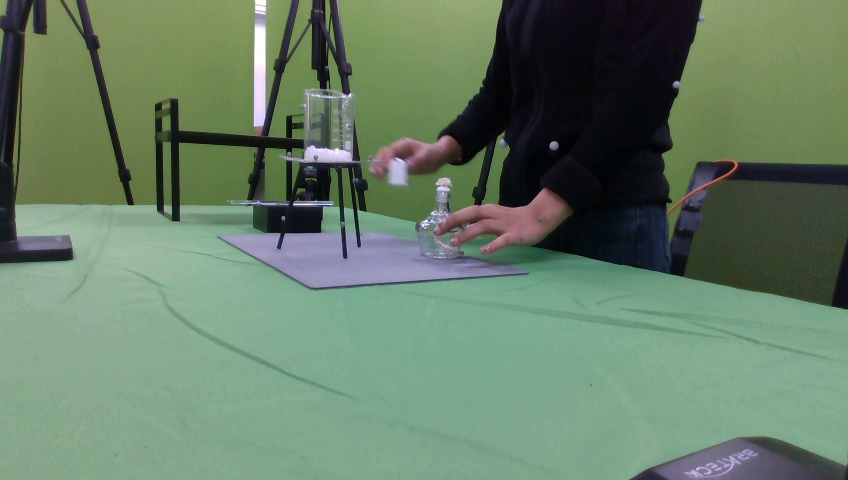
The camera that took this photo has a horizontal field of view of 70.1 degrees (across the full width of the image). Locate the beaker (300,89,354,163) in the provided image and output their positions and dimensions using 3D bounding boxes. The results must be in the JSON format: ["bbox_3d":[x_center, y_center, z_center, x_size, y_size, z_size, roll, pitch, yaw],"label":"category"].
[{"bbox_3d":[-0.137,-0.161,0.869,0.083,0.100,0.074,9,10,42],"label":"beaker"}]

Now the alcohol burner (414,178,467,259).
[{"bbox_3d":[0.026,-0.032,0.891,0.078,0.119,0.078,4,6,0],"label":"alcohol burner"}]

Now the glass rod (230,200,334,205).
[{"bbox_3d":[-0.265,-0.070,1.144,0.201,0.008,0.008,-1,8,-31],"label":"glass rod"}]

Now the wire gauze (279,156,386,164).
[{"bbox_3d":[-0.134,-0.113,0.875,0.122,0.011,0.124,-1,6,-30],"label":"wire gauze"}]

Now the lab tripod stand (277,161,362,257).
[{"bbox_3d":[-0.142,-0.049,0.884,0.148,0.131,0.148,1,9,0],"label":"lab tripod stand"}]

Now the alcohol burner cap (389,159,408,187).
[{"bbox_3d":[-0.043,-0.117,1.046,0.034,0.048,0.034,1,0,0],"label":"alcohol burner cap"}]
